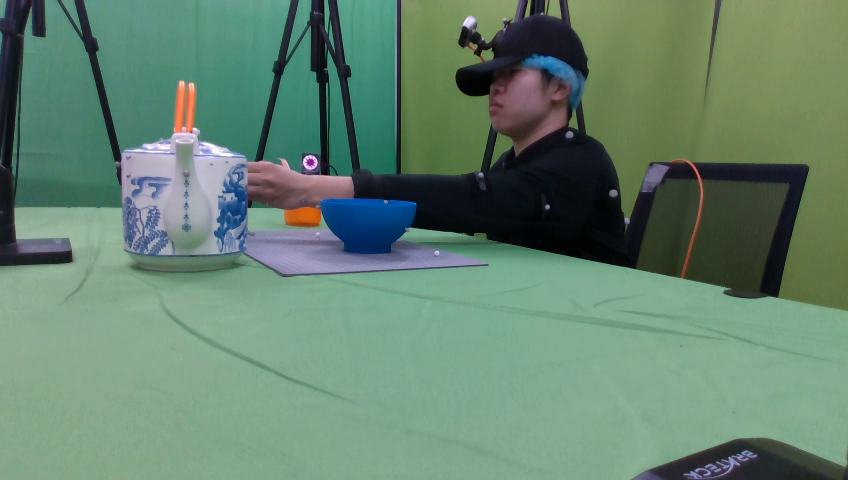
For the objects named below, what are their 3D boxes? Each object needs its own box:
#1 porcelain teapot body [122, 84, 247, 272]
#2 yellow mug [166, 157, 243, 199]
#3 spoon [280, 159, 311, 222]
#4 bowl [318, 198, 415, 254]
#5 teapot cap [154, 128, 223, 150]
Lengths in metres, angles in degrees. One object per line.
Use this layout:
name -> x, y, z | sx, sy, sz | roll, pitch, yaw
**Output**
porcelain teapot body -> -0.286, -0.075, 0.733 | 0.146, 0.225, 0.204 | 0, 8, -24
yellow mug -> -0.370, -0.105, 1.029 | 0.131, 0.064, 0.100 | 5, 7, 7
spoon -> -0.285, -0.111, 1.320 | 0.042, 0.193, 0.021 | -2, -36, -31
bowl -> -0.089, -0.022, 0.941 | 0.151, 0.077, 0.151 | 2, 7, 0
teapot cap -> -0.294, -0.117, 0.754 | 0.085, 0.044, 0.085 | 4, 9, 0
